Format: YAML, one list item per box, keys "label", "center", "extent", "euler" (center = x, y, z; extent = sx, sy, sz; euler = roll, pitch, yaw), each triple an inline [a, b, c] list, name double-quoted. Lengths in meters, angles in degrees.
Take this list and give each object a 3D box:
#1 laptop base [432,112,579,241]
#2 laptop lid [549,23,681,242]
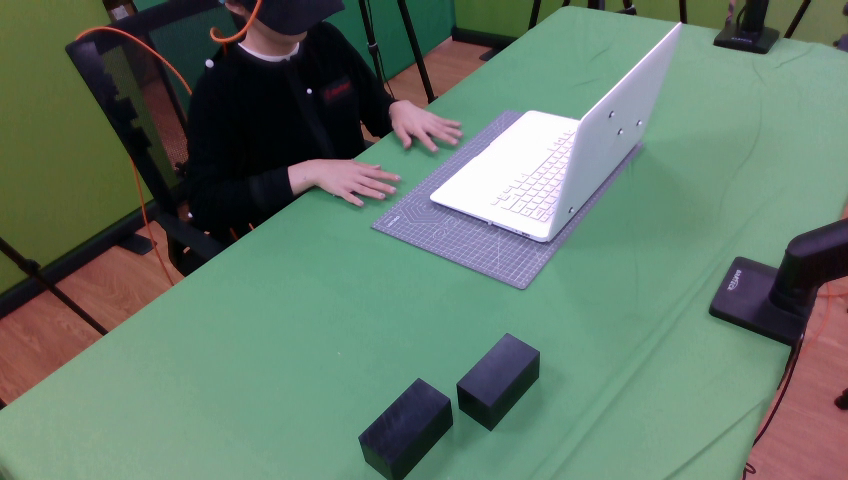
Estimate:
- label: "laptop base"
  center: [0.208, -0.129, 1.098]
  extent: [0.233, 0.023, 0.355]
  euler: [20, 47, 34]
- label: "laptop lid"
  center: [0.304, -0.172, 0.951]
  extent: [0.013, 0.242, 0.358]
  euler: [30, 51, 24]
